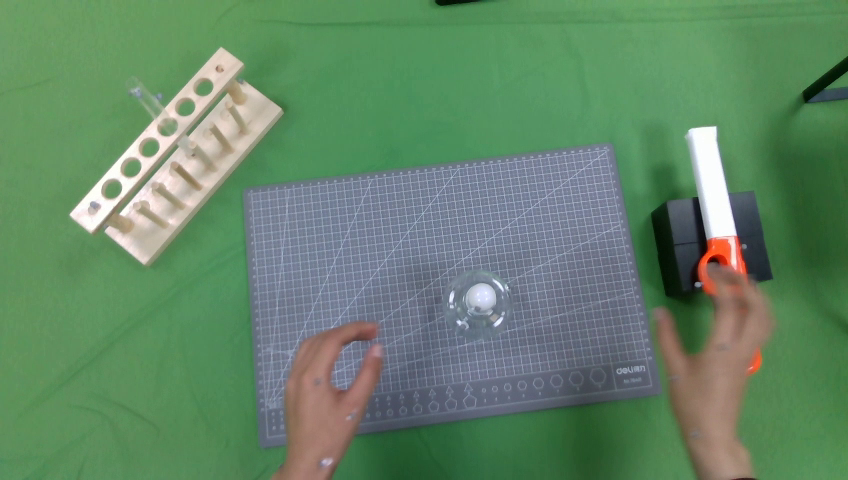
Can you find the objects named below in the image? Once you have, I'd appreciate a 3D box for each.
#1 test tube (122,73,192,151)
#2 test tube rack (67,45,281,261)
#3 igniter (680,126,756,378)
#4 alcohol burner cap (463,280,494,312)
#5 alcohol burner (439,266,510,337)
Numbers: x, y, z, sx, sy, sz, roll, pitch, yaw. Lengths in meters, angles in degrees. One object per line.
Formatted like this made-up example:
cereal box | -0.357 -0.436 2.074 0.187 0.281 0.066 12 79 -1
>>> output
test tube | -0.280 -0.132 0.649 0.017 0.151 0.017 0 73 1
test tube rack | -0.276 -0.096 0.692 0.066 0.085 0.242 37 81 8
igniter | 0.316 0.007 0.654 0.057 0.025 0.275 -4 77 1
alcohol burner cap | 0.055 0.055 0.608 0.034 0.048 0.033 -1 81 4
alcohol burner | 0.055 0.062 0.643 0.078 0.119 0.077 0 77 -1
